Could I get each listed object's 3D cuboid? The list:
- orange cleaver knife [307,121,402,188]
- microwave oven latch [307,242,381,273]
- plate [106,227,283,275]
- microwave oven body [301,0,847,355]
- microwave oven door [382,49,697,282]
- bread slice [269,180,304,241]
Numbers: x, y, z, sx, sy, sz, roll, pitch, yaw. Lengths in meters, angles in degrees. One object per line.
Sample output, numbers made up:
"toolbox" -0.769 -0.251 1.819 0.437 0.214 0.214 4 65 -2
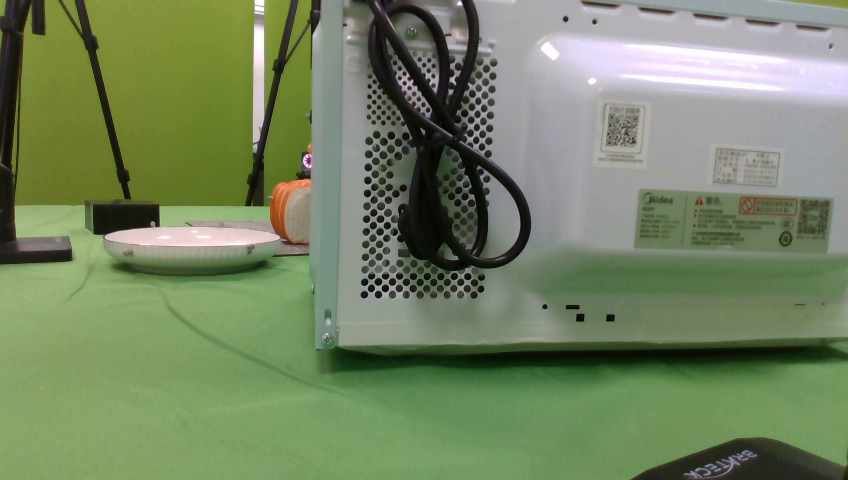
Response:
"orange cleaver knife" -0.114 -0.130 1.037 0.012 0.077 0.212 4 -16 41
"microwave oven latch" -0.086 0.019 0.656 0.079 0.029 0.030 2 7 -10
"plate" -0.288 0.013 0.772 0.208 0.039 0.207 2 7 0
"microwave oven body" 0.120 -0.053 0.535 0.443 0.260 0.325 2 7 -11
"microwave oven door" 0.135 -0.077 0.685 0.357 0.243 0.039 1 8 -12
"bread slice" -0.191 -0.051 1.001 0.135 0.107 0.018 -2 10 -39
